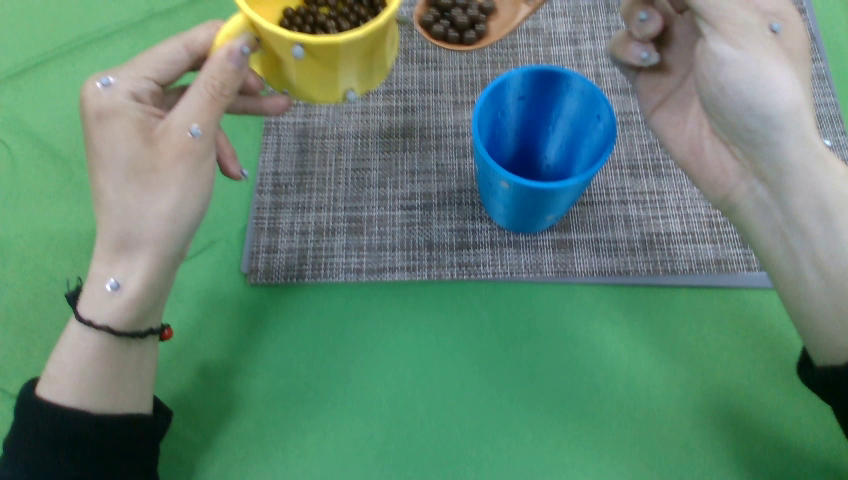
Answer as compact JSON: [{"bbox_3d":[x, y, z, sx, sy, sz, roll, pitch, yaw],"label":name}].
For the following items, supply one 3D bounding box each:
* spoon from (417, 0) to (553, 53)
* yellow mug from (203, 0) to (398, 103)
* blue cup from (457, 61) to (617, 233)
[{"bbox_3d":[0.090,-0.133,0.291,0.193,0.022,0.041,-18,64,11],"label":"spoon"},{"bbox_3d":[-0.074,-0.131,0.351,0.099,0.064,0.130,44,74,6],"label":"yellow mug"},{"bbox_3d":[0.071,-0.050,0.399,0.092,0.101,0.092,-1,68,2],"label":"blue cup"}]
